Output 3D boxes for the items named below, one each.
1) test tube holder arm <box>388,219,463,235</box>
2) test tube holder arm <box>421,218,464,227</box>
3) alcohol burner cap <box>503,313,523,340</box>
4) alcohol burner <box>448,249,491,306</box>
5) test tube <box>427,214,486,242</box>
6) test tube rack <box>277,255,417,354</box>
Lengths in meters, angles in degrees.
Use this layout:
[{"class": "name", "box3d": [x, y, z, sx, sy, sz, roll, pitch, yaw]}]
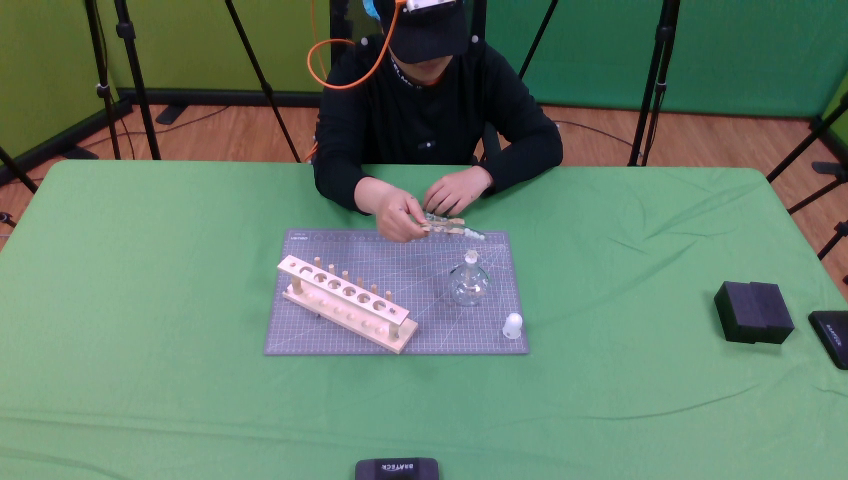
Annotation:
[{"class": "test tube holder arm", "box3d": [-0.002, -0.023, 1.008, 0.015, 0.013, 0.177, 9, -1, -42]}, {"class": "test tube holder arm", "box3d": [0.029, -0.027, 0.975, 0.015, 0.087, 0.010, 9, 81, -42]}, {"class": "alcohol burner cap", "box3d": [0.156, 0.148, 1.051, 0.034, 0.048, 0.033, 1, 45, -1]}, {"class": "alcohol burner", "box3d": [0.081, 0.062, 1.078, 0.078, 0.120, 0.077, 1, 45, -1]}, {"class": "test tube", "box3d": [0.056, -0.018, 0.973, 0.151, 0.017, 0.017, 18, 26, -50]}, {"class": "test tube rack", "box3d": [-0.131, 0.099, 1.045, 0.241, 0.085, 0.066, 23, 49, 17]}]
